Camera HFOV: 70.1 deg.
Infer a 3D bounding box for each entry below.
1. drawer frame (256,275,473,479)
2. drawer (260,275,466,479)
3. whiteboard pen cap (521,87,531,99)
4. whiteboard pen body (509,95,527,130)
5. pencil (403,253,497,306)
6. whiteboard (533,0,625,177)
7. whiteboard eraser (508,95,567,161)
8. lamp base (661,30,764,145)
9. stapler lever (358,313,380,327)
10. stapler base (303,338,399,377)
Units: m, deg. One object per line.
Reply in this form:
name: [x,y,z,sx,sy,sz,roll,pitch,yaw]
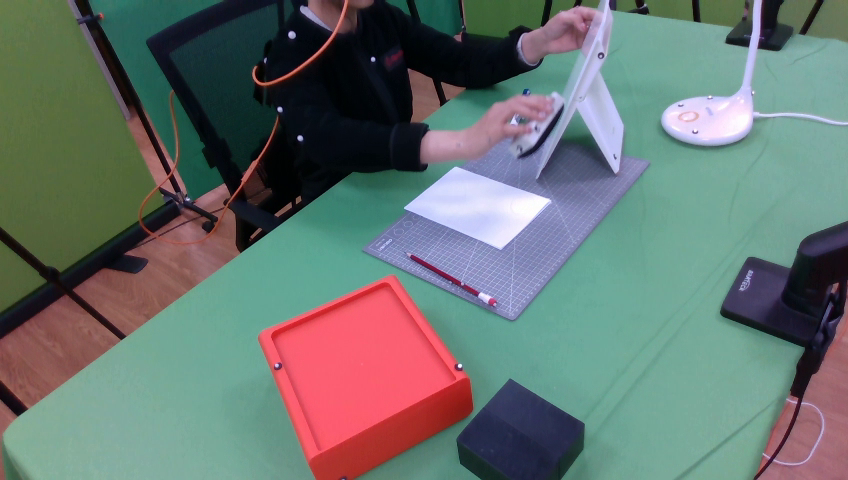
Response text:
drawer frame: [-0.078,0.164,0.756,0.202,0.083,0.211,-23,43,-17]
drawer: [-0.080,0.162,0.760,0.195,0.073,0.210,-22,42,-16]
whiteboard pen cap: [0.219,-0.313,1.301,0.018,0.018,0.033,6,47,17]
whiteboard pen body: [0.199,-0.273,1.261,0.017,0.017,0.140,8,44,19]
pencil: [0.034,0.056,0.914,0.192,0.012,0.012,27,52,38]
whiteboard: [0.321,-0.258,1.049,0.144,0.306,0.217,20,45,4]
whiteboard eraser: [0.182,-0.175,0.955,0.042,0.055,0.113,40,65,-8]
lamp base: [0.535,-0.287,1.096,0.179,0.181,0.159,-10,40,-4]
stapler lever: [-0.106,0.127,0.792,0.118,0.040,0.026,-15,26,2]
stapler base: [-0.099,0.150,0.805,0.130,0.024,0.041,-13,26,1]
